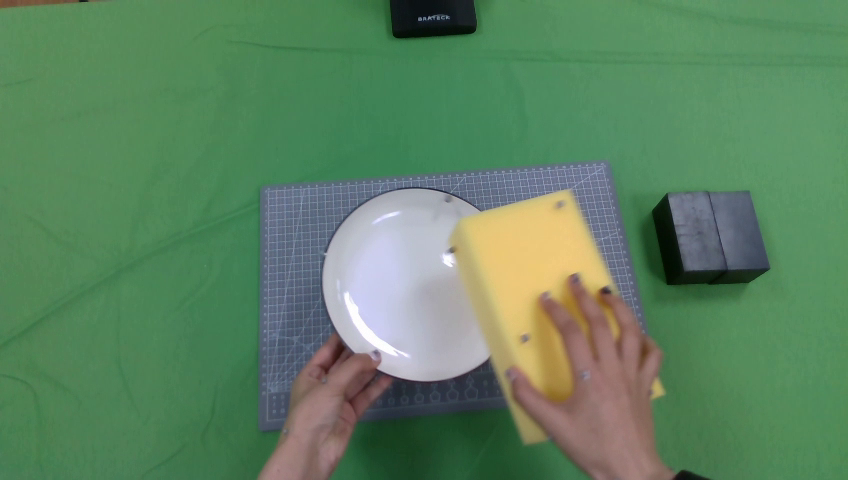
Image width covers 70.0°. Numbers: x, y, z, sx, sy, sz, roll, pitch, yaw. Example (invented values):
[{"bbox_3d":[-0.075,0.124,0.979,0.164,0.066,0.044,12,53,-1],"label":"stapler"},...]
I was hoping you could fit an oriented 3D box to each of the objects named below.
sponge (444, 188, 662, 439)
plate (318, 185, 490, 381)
[{"bbox_3d":[0.114,0.064,0.564,0.118,0.061,0.205,-17,72,-16],"label":"sponge"},{"bbox_3d":[-0.005,0.044,0.634,0.210,0.038,0.207,4,71,-10],"label":"plate"}]
